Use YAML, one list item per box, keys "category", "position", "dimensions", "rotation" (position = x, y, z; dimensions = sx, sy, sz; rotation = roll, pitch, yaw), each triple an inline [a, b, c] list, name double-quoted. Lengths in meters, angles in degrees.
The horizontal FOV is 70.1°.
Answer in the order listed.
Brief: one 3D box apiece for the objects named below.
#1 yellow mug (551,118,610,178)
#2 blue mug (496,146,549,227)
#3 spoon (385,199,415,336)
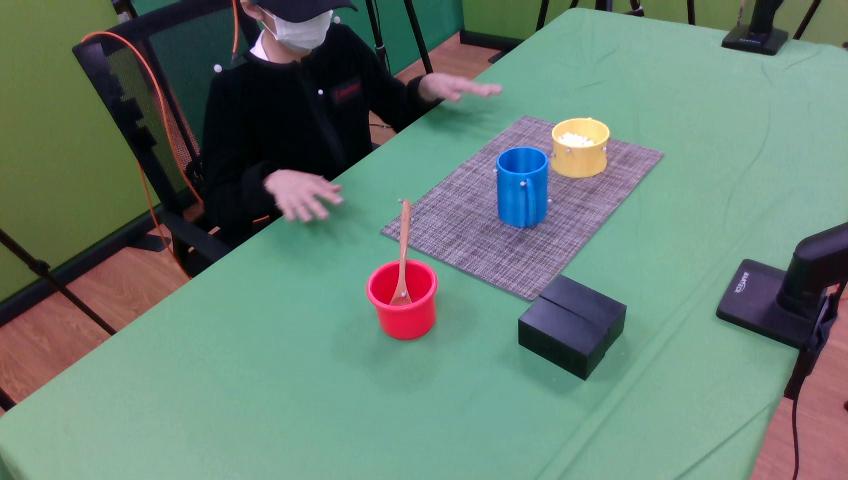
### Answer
- category: "yellow mug"
  position: [0.287, -0.176, 1.098]
  dimensions: [0.099, 0.064, 0.131]
  rotation: [12, 43, 23]
- category: "blue mug"
  position: [0.162, -0.076, 0.969]
  dimensions: [0.082, 0.106, 0.116]
  rotation: [-9, 40, -1]
- category: "spoon"
  position: [-0.029, 0.036, 0.843]
  dimensions: [0.041, 0.022, 0.193]
  rotation: [2, 85, 10]
